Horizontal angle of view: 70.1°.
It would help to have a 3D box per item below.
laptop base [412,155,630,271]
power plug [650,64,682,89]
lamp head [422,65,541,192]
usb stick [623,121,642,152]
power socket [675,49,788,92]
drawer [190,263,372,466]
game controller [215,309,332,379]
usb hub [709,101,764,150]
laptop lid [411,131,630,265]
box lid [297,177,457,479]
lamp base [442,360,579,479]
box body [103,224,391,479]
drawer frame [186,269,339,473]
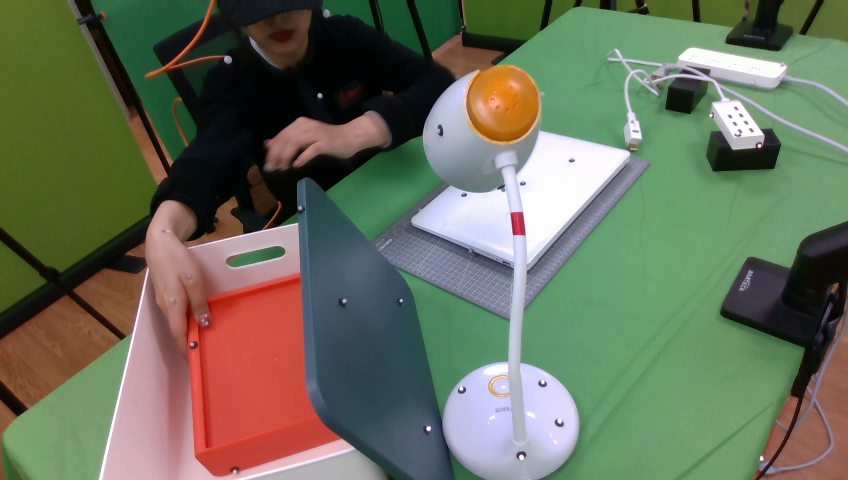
[{"bbox_3d":[0.175,-0.084,1.056,0.233,0.023,0.355,21,48,36],"label":"laptop base"},{"bbox_3d":[0.498,-0.341,1.263,0.035,0.052,0.072,20,10,-7],"label":"power plug"},{"bbox_3d":[0.060,-0.106,0.560,0.113,0.112,0.122,-17,0,-8],"label":"lamp head"},{"bbox_3d":[0.389,-0.191,1.128,0.021,0.027,0.059,9,61,-10],"label":"usb stick"},{"bbox_3d":[0.647,-0.363,1.284,0.225,0.033,0.072,26,53,35],"label":"power socket"},{"bbox_3d":[-0.183,0.148,0.759,0.195,0.073,0.210,-13,51,-9],"label":"drawer"},{"bbox_3d":[-0.197,0.127,0.794,0.156,0.052,0.096,-15,21,-12],"label":"game controller"},{"bbox_3d":[0.534,-0.199,1.040,0.049,0.025,0.124,-5,39,8],"label":"usb hub"},{"bbox_3d":[0.172,-0.094,1.050,0.239,0.013,0.358,23,49,36],"label":"laptop lid"},{"bbox_3d":[-0.059,0.103,0.702,0.015,0.265,0.369,-30,39,11],"label":"box lid"},{"bbox_3d":[0.094,0.158,0.657,0.161,0.181,0.178,-13,42,-5],"label":"lamp base"},{"bbox_3d":[-0.190,0.161,0.723,0.255,0.161,0.361,-13,40,-5],"label":"box body"},{"bbox_3d":[-0.179,0.149,0.757,0.202,0.083,0.212,-16,52,-9],"label":"drawer frame"}]
